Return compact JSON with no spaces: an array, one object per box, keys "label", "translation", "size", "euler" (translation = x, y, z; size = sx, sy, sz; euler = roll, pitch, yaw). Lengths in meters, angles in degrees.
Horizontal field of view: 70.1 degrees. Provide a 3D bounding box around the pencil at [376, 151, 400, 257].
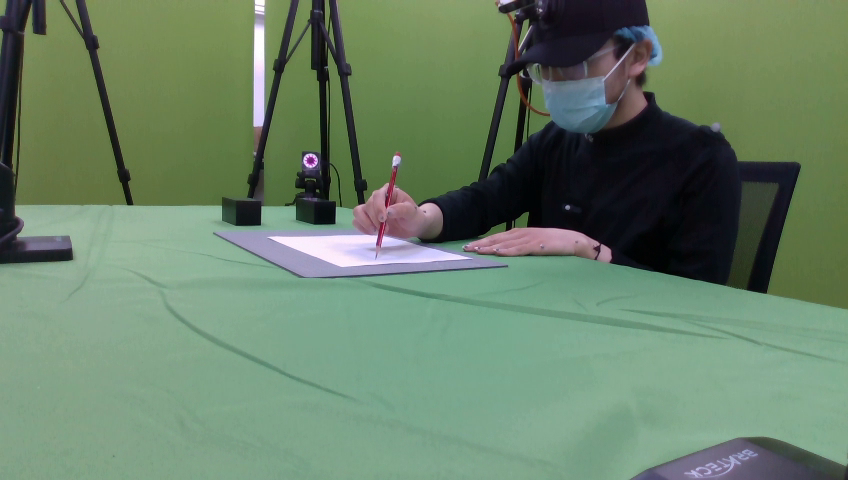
[{"label":"pencil","translation":[-0.053,-0.056,0.889],"size":[0.012,0.193,0.012],"euler":[6,-33,4]}]
